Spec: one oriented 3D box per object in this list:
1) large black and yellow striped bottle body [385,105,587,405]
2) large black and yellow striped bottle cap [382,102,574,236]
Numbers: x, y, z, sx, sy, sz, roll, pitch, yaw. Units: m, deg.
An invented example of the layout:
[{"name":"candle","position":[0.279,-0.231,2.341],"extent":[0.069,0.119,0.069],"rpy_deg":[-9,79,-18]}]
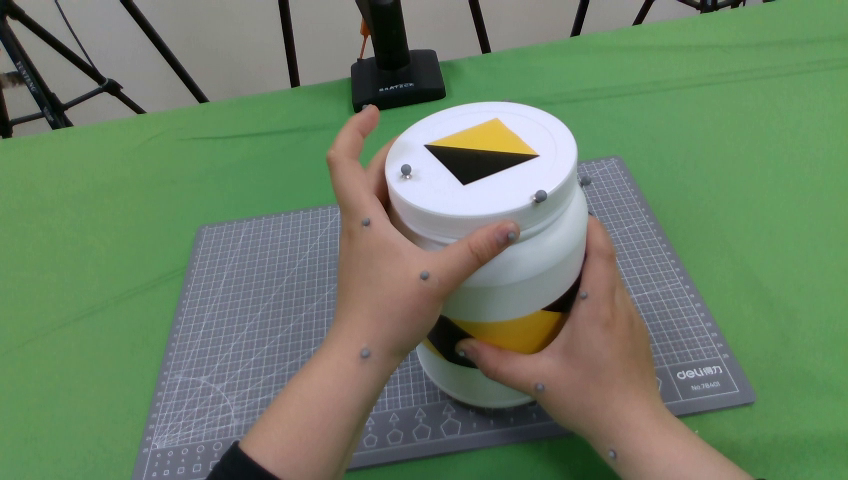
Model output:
[{"name":"large black and yellow striped bottle body","position":[0.045,0.014,0.422],"extent":[0.130,0.186,0.129],"rpy_deg":[-6,44,6]},{"name":"large black and yellow striped bottle cap","position":[0.032,-0.047,0.364],"extent":[0.115,0.019,0.114],"rpy_deg":[-5,43,5]}]
